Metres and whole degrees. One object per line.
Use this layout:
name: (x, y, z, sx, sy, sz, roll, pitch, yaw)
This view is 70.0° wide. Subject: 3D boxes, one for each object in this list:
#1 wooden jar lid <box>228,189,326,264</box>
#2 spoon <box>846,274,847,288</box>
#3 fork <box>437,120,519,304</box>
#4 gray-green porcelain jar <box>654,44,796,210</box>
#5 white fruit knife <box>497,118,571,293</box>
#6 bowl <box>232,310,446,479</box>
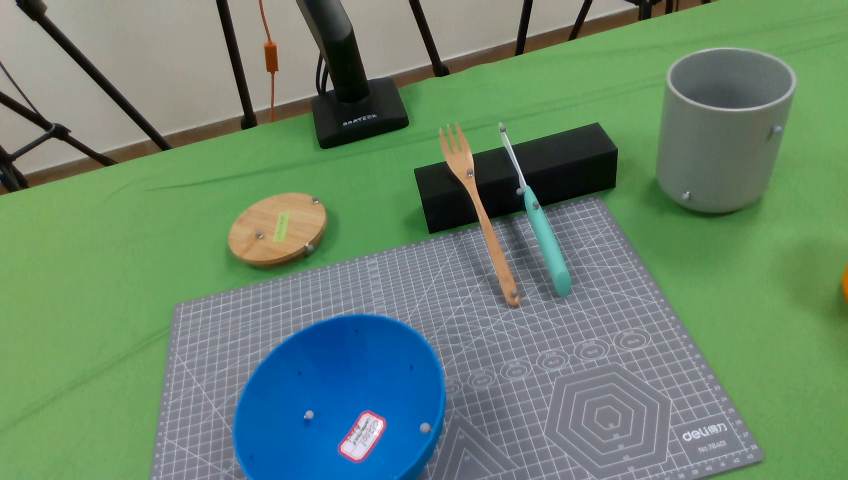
wooden jar lid: (-0.159, -0.014, 0.663, 0.108, 0.021, 0.107, -5, 45, 6)
spoon: (0.404, -0.015, 0.437, 0.022, 0.194, 0.041, 23, 39, -26)
fork: (0.052, -0.033, 0.584, 0.028, 0.019, 0.205, -14, 63, -8)
gray-green porcelain jar: (0.274, -0.101, 0.568, 0.106, 0.128, 0.105, -7, 45, 7)
white fruit knife: (0.100, -0.043, 0.586, 0.016, 0.028, 0.205, -14, 58, -3)
bowl: (-0.053, 0.133, 0.445, 0.151, 0.077, 0.150, -7, 44, 7)
